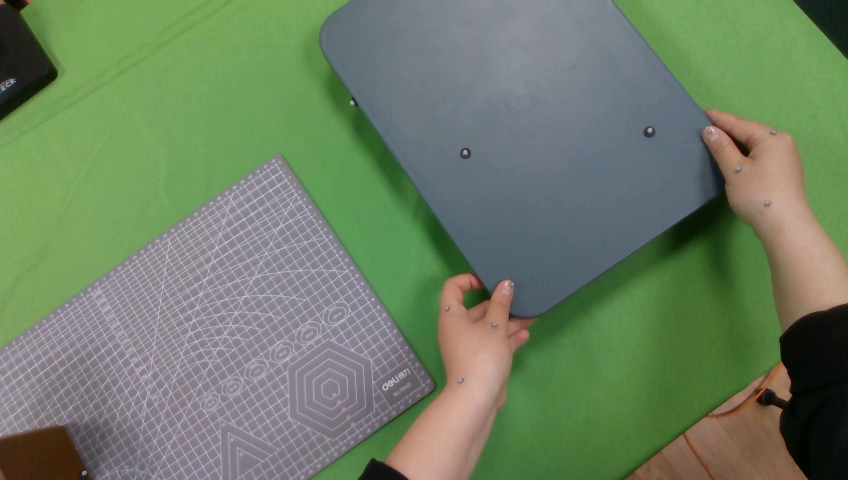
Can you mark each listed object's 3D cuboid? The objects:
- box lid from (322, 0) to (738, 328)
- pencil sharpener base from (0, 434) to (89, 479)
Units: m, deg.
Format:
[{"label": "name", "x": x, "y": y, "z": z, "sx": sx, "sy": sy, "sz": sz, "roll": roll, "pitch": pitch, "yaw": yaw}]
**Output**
[{"label": "box lid", "x": 0.092, "y": -0.130, "z": 0.591, "sx": 0.263, "sy": 0.015, "sz": 0.370, "roll": -35, "pitch": 80, "yaw": -1}, {"label": "pencil sharpener base", "x": -0.381, "y": 0.238, "z": 0.574, "sx": 0.061, "sy": 0.107, "sz": 0.076, "roll": -35, "pitch": 80, "yaw": -1}]
